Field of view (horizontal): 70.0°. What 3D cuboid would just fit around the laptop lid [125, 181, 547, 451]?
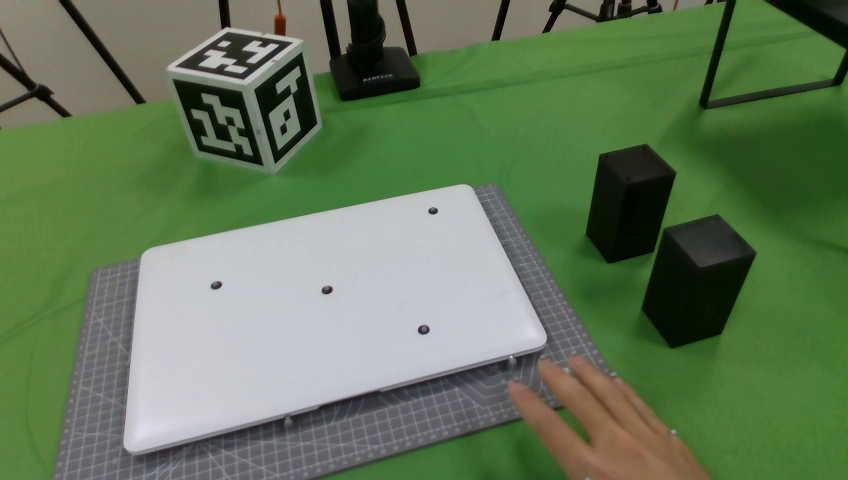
[{"bbox_3d":[-0.090,0.048,0.569,0.357,0.013,0.239,-12,45,-8],"label":"laptop lid"}]

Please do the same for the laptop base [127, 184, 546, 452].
[{"bbox_3d":[-0.090,0.055,0.579,0.355,0.023,0.233,-13,47,-9],"label":"laptop base"}]
